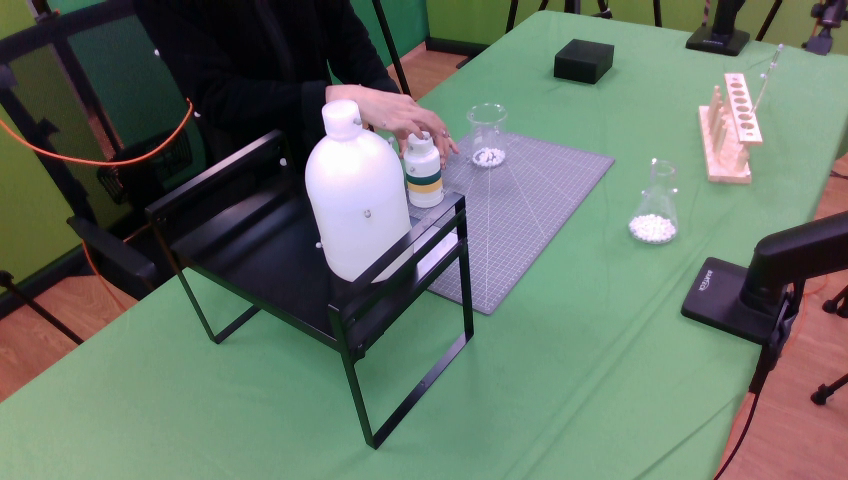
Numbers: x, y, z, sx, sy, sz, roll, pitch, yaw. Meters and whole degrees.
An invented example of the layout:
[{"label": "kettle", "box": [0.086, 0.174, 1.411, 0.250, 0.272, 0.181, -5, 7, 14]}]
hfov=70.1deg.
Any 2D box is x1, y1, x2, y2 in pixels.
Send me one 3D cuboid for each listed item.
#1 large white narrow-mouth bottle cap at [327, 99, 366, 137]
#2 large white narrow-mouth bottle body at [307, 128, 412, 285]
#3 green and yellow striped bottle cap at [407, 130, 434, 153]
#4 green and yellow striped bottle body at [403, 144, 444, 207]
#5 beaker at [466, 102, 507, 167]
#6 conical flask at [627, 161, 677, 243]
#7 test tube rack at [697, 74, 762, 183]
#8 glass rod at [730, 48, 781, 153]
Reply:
[{"label": "large white narrow-mouth bottle cap", "box": [-0.075, -0.118, 0.582, 0.038, 0.024, 0.037, -3, 40, 3]}, {"label": "large white narrow-mouth bottle body", "box": [-0.070, -0.051, 0.638, 0.102, 0.195, 0.101, -3, 40, 3]}, {"label": "green and yellow striped bottle cap", "box": [-0.007, -0.164, 1.002, 0.045, 0.020, 0.045, -4, 40, 4]}, {"label": "green and yellow striped bottle body", "box": [-0.001, -0.121, 1.038, 0.063, 0.120, 0.063, -4, 40, 4]}, {"label": "beaker", "box": [0.121, -0.195, 1.124, 0.084, 0.101, 0.073, -34, 48, -28]}, {"label": "conical flask", "box": [0.355, -0.061, 0.921, 0.075, 0.122, 0.075, -4, 41, 4]}, {"label": "test tube rack", "box": [0.547, -0.208, 1.095, 0.066, 0.085, 0.242, 5, 42, 15]}, {"label": "glass rod", "box": [0.554, -0.228, 1.015, 0.008, 0.200, 0.008, 1, 44, -1]}]
